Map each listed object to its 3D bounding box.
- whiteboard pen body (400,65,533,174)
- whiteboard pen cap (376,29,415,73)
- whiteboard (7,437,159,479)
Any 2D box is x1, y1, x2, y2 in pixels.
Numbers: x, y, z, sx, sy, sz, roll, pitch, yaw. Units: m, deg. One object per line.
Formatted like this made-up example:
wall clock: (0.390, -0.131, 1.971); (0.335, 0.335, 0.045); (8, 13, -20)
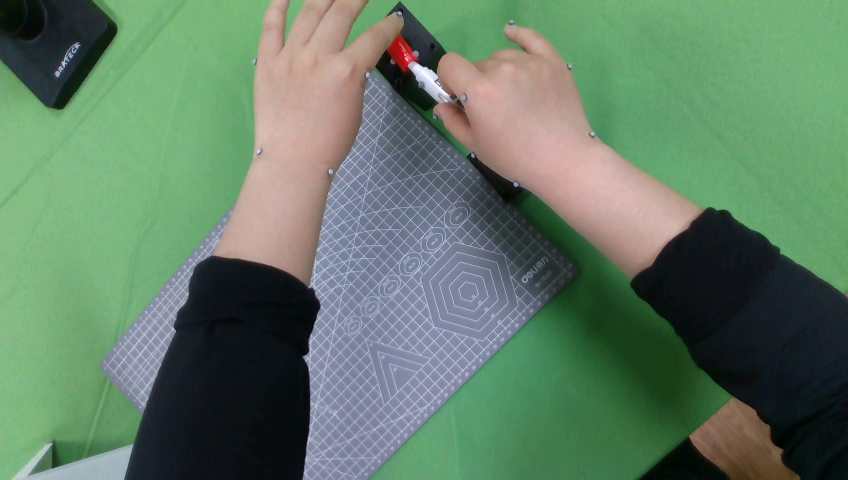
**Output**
whiteboard pen body: (0.028, -0.100, 0.477); (0.140, 0.017, 0.017); (40, 100, 8)
whiteboard pen cap: (-0.023, -0.150, 0.482); (0.017, 0.017, 0.032); (-37, 90, 12)
whiteboard: (-0.442, 0.319, 0.589); (0.143, 0.307, 0.217); (7, 95, 32)
